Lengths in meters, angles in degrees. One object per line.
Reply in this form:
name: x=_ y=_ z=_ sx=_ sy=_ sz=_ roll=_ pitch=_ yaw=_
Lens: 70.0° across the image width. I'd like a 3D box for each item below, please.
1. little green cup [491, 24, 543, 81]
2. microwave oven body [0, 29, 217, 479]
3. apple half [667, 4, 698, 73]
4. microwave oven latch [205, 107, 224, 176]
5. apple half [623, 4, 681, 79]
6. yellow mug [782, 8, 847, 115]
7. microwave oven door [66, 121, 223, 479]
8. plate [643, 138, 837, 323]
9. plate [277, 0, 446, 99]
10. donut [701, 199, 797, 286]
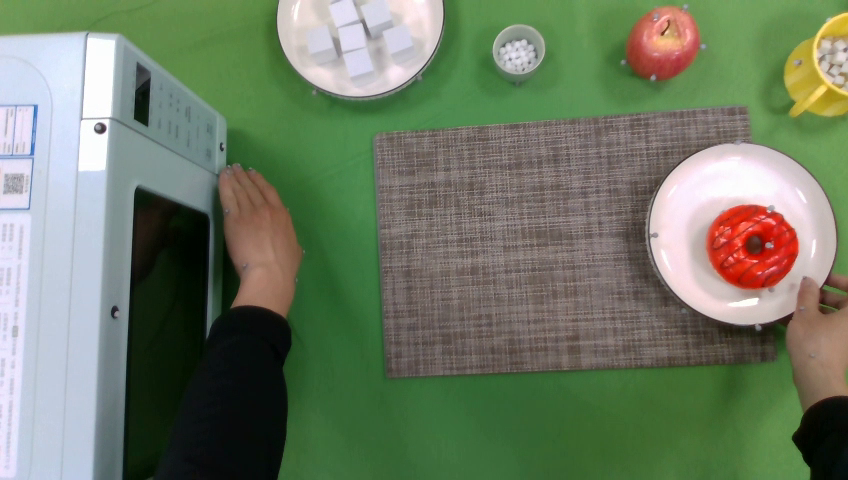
little green cup: x=0.112 y=-0.225 z=0.735 sx=0.061 sy=0.039 sz=0.061 roll=0 pitch=84 yaw=5
microwave oven body: x=-0.413 y=0.048 z=0.629 sx=0.326 sy=0.261 sz=0.440 roll=-1 pitch=85 yaw=4
apple half: x=0.299 y=-0.235 z=0.705 sx=0.033 sy=0.081 sz=0.081 roll=-13 pitch=83 yaw=8
microwave oven latch: x=-0.258 y=-0.119 z=0.732 sx=0.030 sy=0.029 sz=0.079 roll=0 pitch=85 yaw=4
apple half: x=0.261 y=-0.226 z=0.708 sx=0.053 sy=0.075 sz=0.080 roll=-12 pitch=87 yaw=7
yellow mug: x=0.466 y=-0.192 z=0.692 sx=0.099 sy=0.064 sz=0.131 roll=44 pitch=90 yaw=7
microwave oven door: x=-0.267 y=0.087 z=0.609 sx=0.039 sy=0.244 sz=0.354 roll=-1 pitch=84 yaw=4
plate: x=0.354 y=-0.010 z=0.692 sx=0.209 sy=0.038 sz=0.208 roll=0 pitch=84 yaw=4
plate: x=-0.076 y=-0.272 z=0.753 sx=0.207 sy=0.039 sz=0.207 roll=0 pitch=84 yaw=4
donut: x=0.362 y=0.003 z=0.679 sx=0.099 sy=0.048 sz=0.099 roll=0 pitch=85 yaw=5
